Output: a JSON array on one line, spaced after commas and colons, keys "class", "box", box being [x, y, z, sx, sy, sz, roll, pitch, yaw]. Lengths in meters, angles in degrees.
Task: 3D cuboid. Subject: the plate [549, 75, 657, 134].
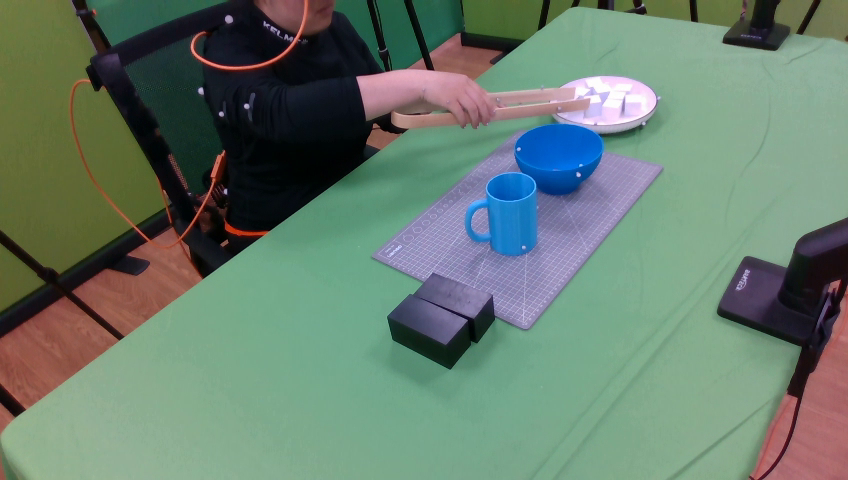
[{"class": "plate", "box": [0.357, -0.269, 1.220, 0.209, 0.038, 0.208, -5, 41, 5]}]

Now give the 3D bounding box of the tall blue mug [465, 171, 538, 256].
[{"class": "tall blue mug", "box": [0.125, -0.033, 0.925, 0.107, 0.108, 0.077, -32, 46, -25]}]

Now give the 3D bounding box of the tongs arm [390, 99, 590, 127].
[{"class": "tongs arm", "box": [0.130, -0.237, 1.121, 0.389, 0.028, 0.028, -7, 43, -14]}]

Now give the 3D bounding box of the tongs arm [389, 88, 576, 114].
[{"class": "tongs arm", "box": [0.120, -0.258, 1.148, 0.386, 0.026, 0.050, -6, 40, -13]}]

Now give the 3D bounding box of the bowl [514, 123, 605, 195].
[{"class": "bowl", "box": [0.232, -0.131, 1.046, 0.151, 0.077, 0.150, -5, 40, 5]}]
